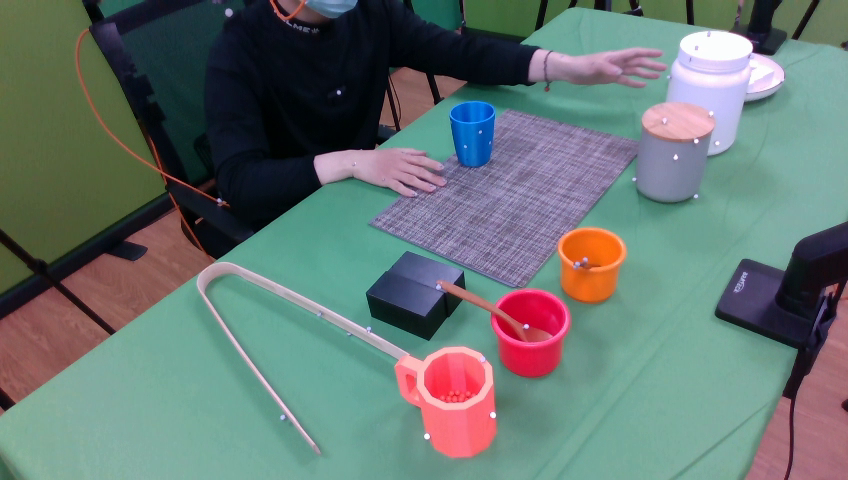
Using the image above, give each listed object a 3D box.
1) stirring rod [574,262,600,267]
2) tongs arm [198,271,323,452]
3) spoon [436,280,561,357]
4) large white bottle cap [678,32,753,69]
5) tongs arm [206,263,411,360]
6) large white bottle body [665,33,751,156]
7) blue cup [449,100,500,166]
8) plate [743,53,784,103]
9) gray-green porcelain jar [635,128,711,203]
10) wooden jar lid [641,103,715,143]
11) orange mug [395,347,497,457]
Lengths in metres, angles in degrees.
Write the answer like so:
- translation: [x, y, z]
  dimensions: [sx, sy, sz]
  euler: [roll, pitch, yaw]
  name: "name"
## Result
- translation: [0.222, 0.033, 0.816]
  dimensions: [0.014, 0.006, 0.177]
  euler: [8, 1, 22]
  name: "stirring rod"
- translation: [-0.236, 0.152, 0.829]
  dimensions: [0.028, 0.028, 0.384]
  euler: [-36, 47, -19]
  name: "tongs arm"
- translation: [0.096, 0.095, 0.758]
  dimensions: [0.195, 0.021, 0.041]
  euler: [34, 40, -20]
  name: "spoon"
- translation: [0.491, -0.321, 1.021]
  dimensions: [0.115, 0.018, 0.114]
  euler: [-4, 41, 4]
  name: "large white bottle cap"
- translation: [-0.179, 0.106, 0.870]
  dimensions: [0.381, 0.026, 0.051]
  euler: [23, 53, 32]
  name: "tongs arm"
- translation: [0.500, -0.258, 1.076]
  dimensions: [0.130, 0.185, 0.130]
  euler: [-4, 41, 4]
  name: "large white bottle body"
- translation: [0.092, -0.194, 1.123]
  dimensions: [0.092, 0.100, 0.092]
  euler: [-3, 39, 3]
  name: "blue cup"
- translation: [0.631, -0.336, 1.262]
  dimensions: [0.207, 0.039, 0.206]
  euler: [-4, 41, 4]
  name: "plate"
- translation: [0.405, -0.133, 0.992]
  dimensions: [0.106, 0.127, 0.105]
  euler: [-4, 40, 4]
  name: "gray-green porcelain jar"
- translation: [0.398, -0.180, 0.952]
  dimensions: [0.108, 0.021, 0.108]
  euler: [-4, 43, 4]
  name: "wooden jar lid"
- translation: [0.024, 0.181, 0.703]
  dimensions: [0.125, 0.101, 0.083]
  euler: [20, 48, 23]
  name: "orange mug"
